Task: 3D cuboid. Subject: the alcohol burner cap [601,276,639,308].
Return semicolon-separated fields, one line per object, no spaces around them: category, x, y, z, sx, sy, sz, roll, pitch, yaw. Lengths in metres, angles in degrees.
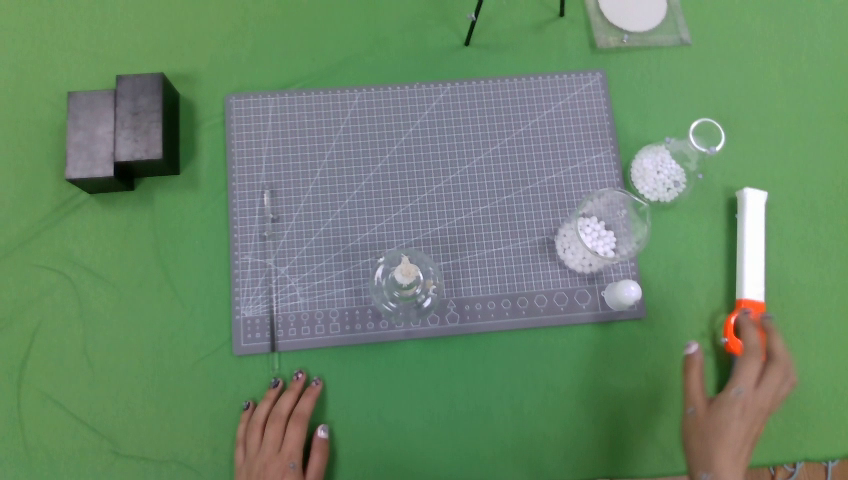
alcohol burner cap;0.215;0.054;0.655;0.034;0.048;0.033;1;77;-2

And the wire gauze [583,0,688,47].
wire gauze;0.258;-0.295;0.751;0.125;0.011;0.121;-6;79;-6

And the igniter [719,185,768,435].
igniter;0.353;0.074;0.668;0.057;0.025;0.275;10;78;-11

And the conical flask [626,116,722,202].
conical flask;0.272;-0.091;0.650;0.075;0.122;0.075;0;77;-2

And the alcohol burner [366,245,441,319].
alcohol burner;-0.021;0.039;0.612;0.078;0.119;0.077;0;77;0

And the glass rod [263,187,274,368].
glass rod;-0.169;0.039;0.659;0.008;0.008;0.199;-4;81;-3

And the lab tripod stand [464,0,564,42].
lab tripod stand;0.100;-0.305;0.682;0.148;0.132;0.148;1;80;-2

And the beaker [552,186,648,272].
beaker;0.182;-0.009;0.638;0.084;0.100;0.073;-28;80;-8
